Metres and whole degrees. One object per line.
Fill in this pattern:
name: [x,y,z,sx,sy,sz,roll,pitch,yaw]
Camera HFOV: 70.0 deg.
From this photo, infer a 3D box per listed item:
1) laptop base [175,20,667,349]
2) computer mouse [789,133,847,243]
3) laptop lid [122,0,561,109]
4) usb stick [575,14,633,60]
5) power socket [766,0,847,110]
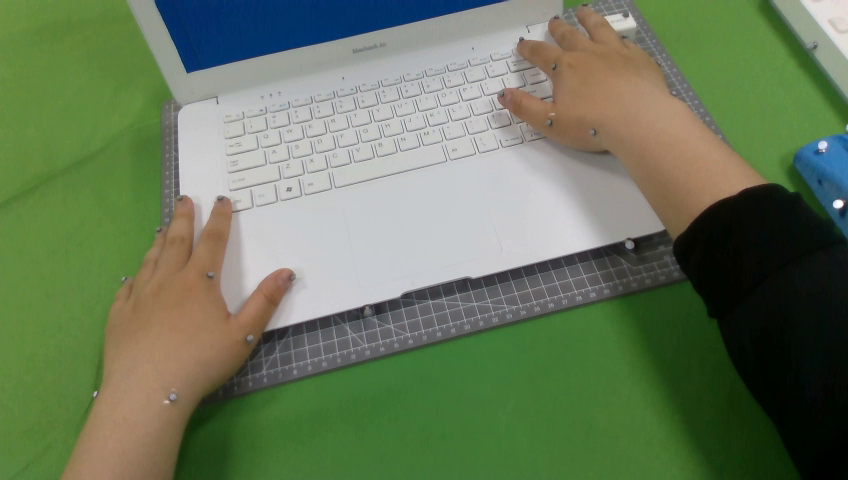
laptop base: [-0.019,-0.059,0.486,0.354,0.023,0.233,-14,61,-3]
computer mouse: [0.316,-0.034,0.425,0.063,0.041,0.116,-14,52,-1]
laptop lid: [-0.063,-0.236,0.464,0.357,0.244,0.013,-15,45,-2]
usb stick: [0.149,-0.175,0.528,0.059,0.027,0.021,-16,58,0]
power socket: [0.364,-0.164,0.505,0.072,0.033,0.224,-11,58,-1]
